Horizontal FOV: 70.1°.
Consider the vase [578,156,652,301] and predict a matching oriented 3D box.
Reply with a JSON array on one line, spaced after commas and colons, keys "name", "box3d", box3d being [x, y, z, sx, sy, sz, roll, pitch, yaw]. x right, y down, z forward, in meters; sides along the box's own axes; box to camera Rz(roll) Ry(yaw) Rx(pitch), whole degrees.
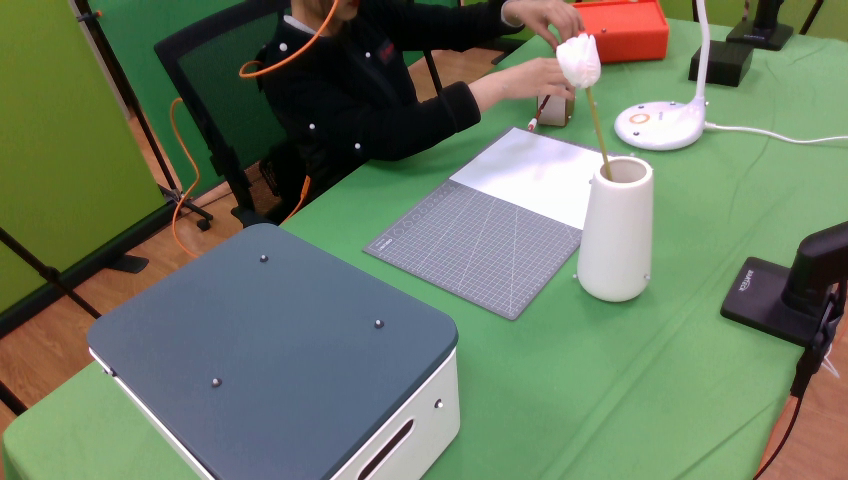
[{"name": "vase", "box3d": [0.261, -0.011, 0.812, 0.098, 0.201, 0.097, -4, 40, 4]}]

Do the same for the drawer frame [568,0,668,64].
[{"name": "drawer frame", "box3d": [0.450, -0.496, 1.441, 0.213, 0.083, 0.201, -1, 40, 9]}]

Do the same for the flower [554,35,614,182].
[{"name": "flower", "box3d": [0.237, -0.083, 0.774, 0.044, 0.363, 0.038, -22, 26, 7]}]

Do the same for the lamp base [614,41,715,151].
[{"name": "lamp base", "box3d": [0.449, -0.277, 1.106, 0.179, 0.181, 0.160, 1, 41, 9]}]

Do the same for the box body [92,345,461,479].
[{"name": "box body", "box3d": [-0.162, 0.170, 0.708, 0.361, 0.161, 0.255, 25, 50, 34]}]

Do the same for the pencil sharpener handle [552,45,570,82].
[{"name": "pencil sharpener handle", "box3d": [0.279, -0.357, 1.224, 0.036, 0.068, 0.030, 2, 40, 29]}]

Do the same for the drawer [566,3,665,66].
[{"name": "drawer", "box3d": [0.447, -0.493, 1.440, 0.211, 0.073, 0.194, 0, 40, 10]}]

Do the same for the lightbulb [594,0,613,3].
[{"name": "lightbulb", "box3d": [0.305, -0.437, 0.977, 0.060, 0.107, 0.059, 12, 44, -11]}]

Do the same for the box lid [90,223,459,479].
[{"name": "box lid", "box3d": [-0.174, 0.102, 0.666, 0.368, 0.015, 0.264, 24, 48, 35]}]

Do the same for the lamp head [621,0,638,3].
[{"name": "lamp head", "box3d": [0.319, -0.453, 0.962, 0.113, 0.123, 0.112, 20, 33, -13]}]

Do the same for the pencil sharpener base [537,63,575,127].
[{"name": "pencil sharpener base", "box3d": [0.267, -0.292, 1.216, 0.061, 0.107, 0.077, 10, 44, 23]}]

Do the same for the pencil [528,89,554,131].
[{"name": "pencil", "box3d": [0.229, -0.260, 1.144, 0.012, 0.012, 0.194, 11, 45, 23]}]
